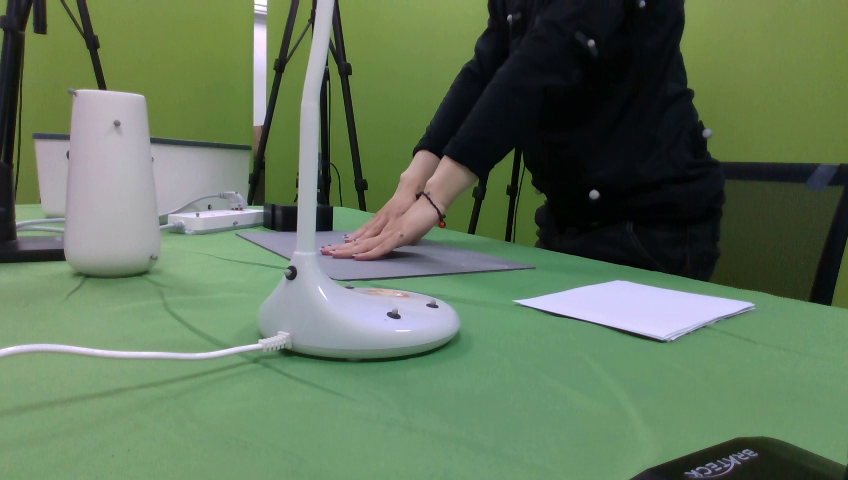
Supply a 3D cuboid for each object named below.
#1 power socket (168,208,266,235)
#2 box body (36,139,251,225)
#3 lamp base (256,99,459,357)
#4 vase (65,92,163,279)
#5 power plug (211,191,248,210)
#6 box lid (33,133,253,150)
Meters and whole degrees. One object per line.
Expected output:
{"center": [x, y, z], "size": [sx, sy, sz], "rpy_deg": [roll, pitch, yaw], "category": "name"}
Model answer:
{"center": [-0.379, -0.038, 1.129], "size": [0.072, 0.032, 0.227], "rpy_deg": [4, 8, 18], "category": "power socket"}
{"center": [-0.558, -0.127, 1.257], "size": [0.253, 0.160, 0.365], "rpy_deg": [4, 8, 15], "category": "box body"}
{"center": [-0.055, -0.013, 0.463], "size": [0.160, 0.180, 0.180], "rpy_deg": [6, 11, 27], "category": "lamp base"}
{"center": [-0.347, -0.060, 0.673], "size": [0.098, 0.200, 0.098], "rpy_deg": [1, 7, 0], "category": "vase"}
{"center": [-0.384, -0.071, 1.205], "size": [0.072, 0.052, 0.035], "rpy_deg": [1, 8, 28], "category": "power plug"}
{"center": [-0.555, -0.199, 1.249], "size": [0.263, 0.015, 0.372], "rpy_deg": [5, 8, 15], "category": "box lid"}
